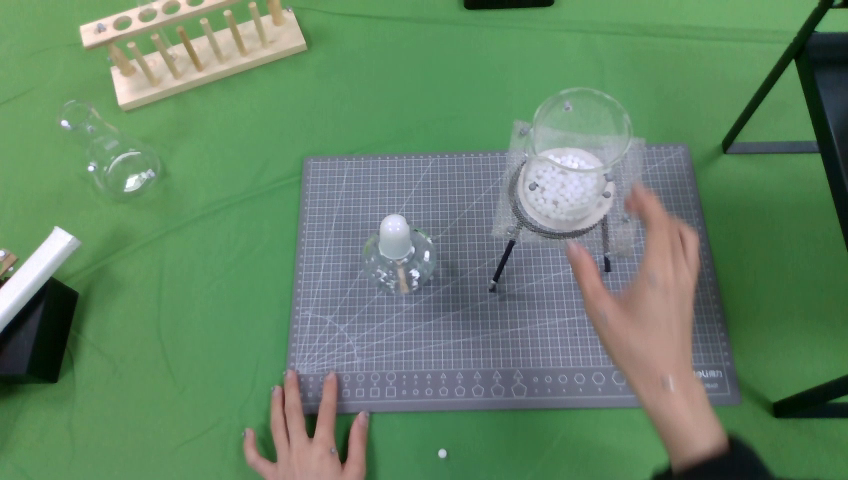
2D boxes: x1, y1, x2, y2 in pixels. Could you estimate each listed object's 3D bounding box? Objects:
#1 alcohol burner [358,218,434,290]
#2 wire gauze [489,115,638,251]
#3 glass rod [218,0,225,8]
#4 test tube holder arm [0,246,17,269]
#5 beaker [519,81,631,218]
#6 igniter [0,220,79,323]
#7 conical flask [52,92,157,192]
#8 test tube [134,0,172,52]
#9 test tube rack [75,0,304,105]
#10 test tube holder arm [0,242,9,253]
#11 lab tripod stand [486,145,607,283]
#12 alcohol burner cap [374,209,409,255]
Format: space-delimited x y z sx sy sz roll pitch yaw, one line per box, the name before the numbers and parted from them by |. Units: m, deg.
alcohol burner | -0.029 0.006 0.606 0.078 0.120 0.077 0 65 1
wire gauze | 0.128 -0.053 0.542 0.121 0.011 0.124 11 66 4
glass rod | -0.254 -0.319 0.698 0.008 0.201 0.008 -2 59 4
test tube holder arm | -0.447 0.043 0.608 0.010 0.015 0.087 42 72 -13
beaker | 0.115 -0.067 0.496 0.084 0.101 0.073 -24 68 -7
igniter | -0.444 0.095 0.584 0.057 0.025 0.275 26 69 22
conical flask | -0.355 -0.111 0.667 0.075 0.123 0.075 -1 66 3
test tube | -0.327 -0.277 0.702 0.017 0.151 0.017 0 61 1
test tube rack | -0.281 -0.255 0.745 0.242 0.086 0.066 -21 67 -7
test tube holder arm | -0.478 0.074 0.593 0.013 0.015 0.178 42 73 -14
lab tripod stand | 0.124 -0.022 0.601 0.148 0.132 0.147 0 66 1
alcohol burner cap | -0.031 -0.011 0.574 0.034 0.048 0.033 2 59 -3
